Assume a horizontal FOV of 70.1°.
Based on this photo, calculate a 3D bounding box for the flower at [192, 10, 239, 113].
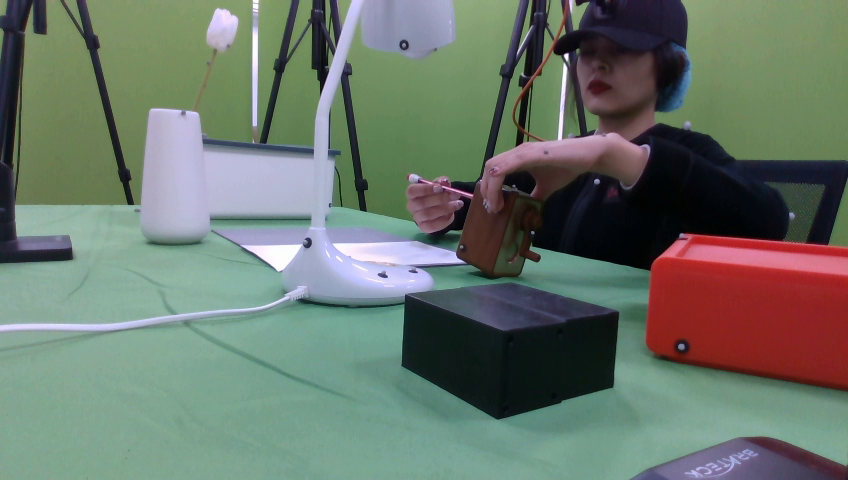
[{"bbox_3d":[-0.354,-0.174,0.915,0.038,0.361,0.044,18,-4,11],"label":"flower"}]

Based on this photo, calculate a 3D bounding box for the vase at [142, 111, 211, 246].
[{"bbox_3d":[-0.378,-0.093,0.920,0.098,0.200,0.098,2,9,0],"label":"vase"}]

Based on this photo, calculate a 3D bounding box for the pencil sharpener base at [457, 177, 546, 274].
[{"bbox_3d":[0.098,-0.017,0.762,0.062,0.107,0.076,6,15,-44],"label":"pencil sharpener base"}]

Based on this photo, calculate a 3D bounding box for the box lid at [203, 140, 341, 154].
[{"bbox_3d":[-0.396,-0.212,1.373,0.373,0.015,0.262,-1,9,-29],"label":"box lid"}]

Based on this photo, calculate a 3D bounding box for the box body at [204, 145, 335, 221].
[{"bbox_3d":[-0.411,-0.135,1.386,0.366,0.160,0.253,-2,9,-29],"label":"box body"}]

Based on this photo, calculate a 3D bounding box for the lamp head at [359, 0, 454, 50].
[{"bbox_3d":[-0.024,-0.283,0.674,0.112,0.123,0.112,-3,38,3],"label":"lamp head"}]

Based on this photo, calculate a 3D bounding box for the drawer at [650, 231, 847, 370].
[{"bbox_3d":[0.303,0.043,0.499,0.194,0.073,0.212,7,9,27],"label":"drawer"}]

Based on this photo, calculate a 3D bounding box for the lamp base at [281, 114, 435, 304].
[{"bbox_3d":[-0.071,-0.035,0.614,0.160,0.180,0.180,6,10,27],"label":"lamp base"}]

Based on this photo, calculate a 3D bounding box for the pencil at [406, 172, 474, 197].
[{"bbox_3d":[0.037,-0.072,0.832,0.012,0.012,0.193,-4,18,-40],"label":"pencil"}]

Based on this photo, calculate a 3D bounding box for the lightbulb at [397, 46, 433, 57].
[{"bbox_3d":[-0.018,-0.265,0.692,0.059,0.108,0.059,-10,28,6],"label":"lightbulb"}]

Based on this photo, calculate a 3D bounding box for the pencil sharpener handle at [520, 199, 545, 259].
[{"bbox_3d":[0.135,-0.012,0.725,0.036,0.067,0.030,-1,20,-42],"label":"pencil sharpener handle"}]

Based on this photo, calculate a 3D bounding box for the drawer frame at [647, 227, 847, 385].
[{"bbox_3d":[0.303,0.043,0.495,0.201,0.082,0.214,6,9,26],"label":"drawer frame"}]
